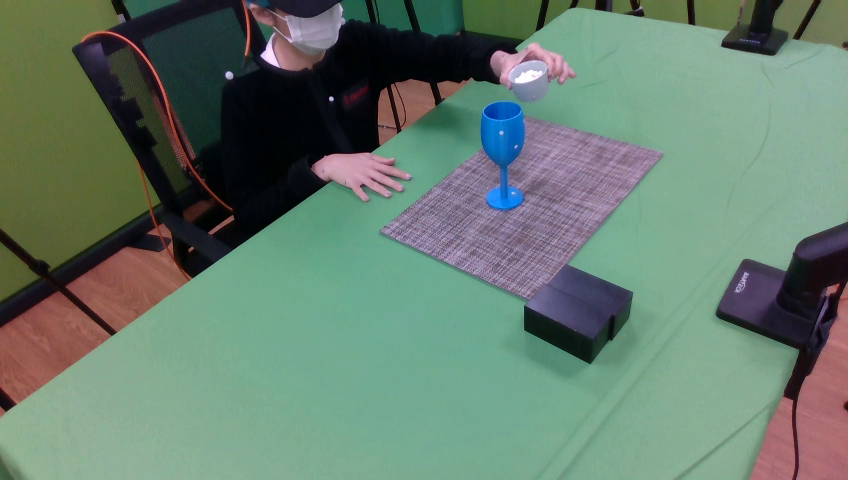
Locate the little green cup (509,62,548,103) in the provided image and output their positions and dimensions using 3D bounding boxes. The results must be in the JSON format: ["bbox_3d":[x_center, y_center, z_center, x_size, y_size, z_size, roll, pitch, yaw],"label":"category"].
[{"bbox_3d":[0.168,-0.249,0.961,0.061,0.039,0.061,-11,48,13],"label":"little green cup"}]

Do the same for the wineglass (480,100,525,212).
[{"bbox_3d":[0.131,-0.136,0.992,0.074,0.173,0.073,-5,40,4],"label":"wineglass"}]
